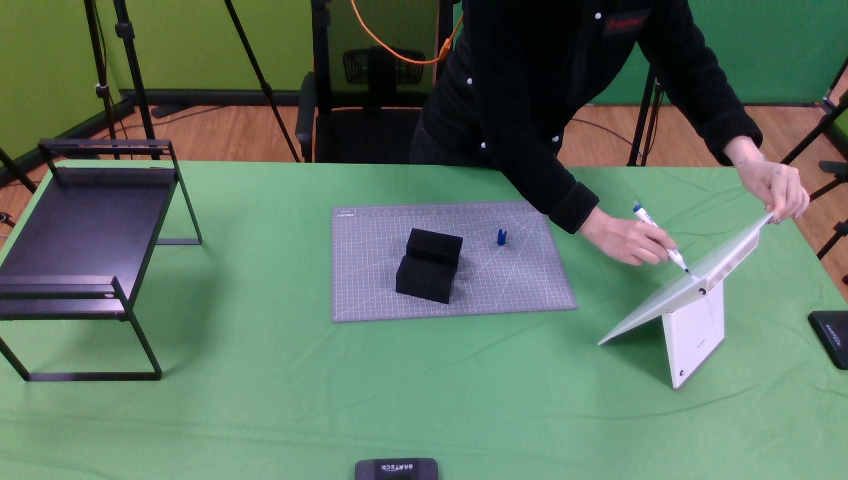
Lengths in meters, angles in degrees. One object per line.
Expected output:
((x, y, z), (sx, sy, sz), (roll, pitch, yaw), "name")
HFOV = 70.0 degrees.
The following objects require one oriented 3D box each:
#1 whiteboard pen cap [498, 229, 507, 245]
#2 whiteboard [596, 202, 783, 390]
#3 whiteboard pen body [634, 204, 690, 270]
((0.156, -0.005, 1.202), (0.018, 0.033, 0.018), (0, 44, 0), "whiteboard pen cap")
((0.460, 0.112, 0.967), (0.217, 0.306, 0.143), (-31, 74, -29), "whiteboard")
((0.398, -0.003, 1.010), (0.141, 0.017, 0.017), (50, 56, 0), "whiteboard pen body")
